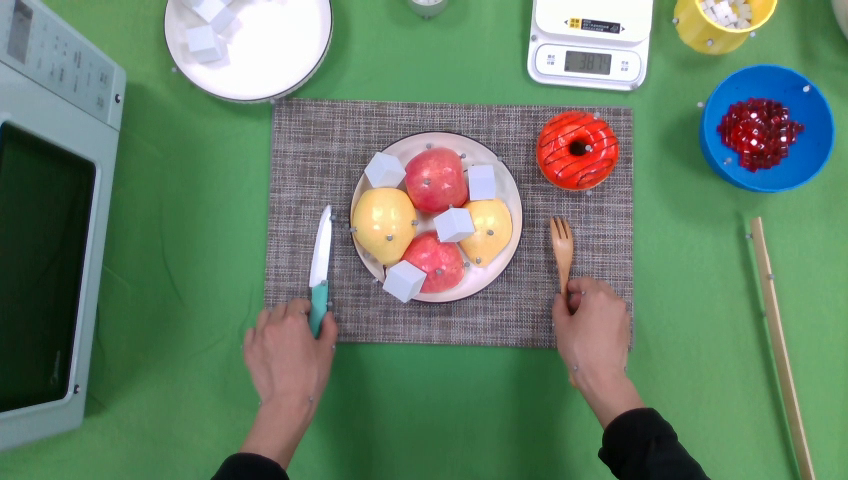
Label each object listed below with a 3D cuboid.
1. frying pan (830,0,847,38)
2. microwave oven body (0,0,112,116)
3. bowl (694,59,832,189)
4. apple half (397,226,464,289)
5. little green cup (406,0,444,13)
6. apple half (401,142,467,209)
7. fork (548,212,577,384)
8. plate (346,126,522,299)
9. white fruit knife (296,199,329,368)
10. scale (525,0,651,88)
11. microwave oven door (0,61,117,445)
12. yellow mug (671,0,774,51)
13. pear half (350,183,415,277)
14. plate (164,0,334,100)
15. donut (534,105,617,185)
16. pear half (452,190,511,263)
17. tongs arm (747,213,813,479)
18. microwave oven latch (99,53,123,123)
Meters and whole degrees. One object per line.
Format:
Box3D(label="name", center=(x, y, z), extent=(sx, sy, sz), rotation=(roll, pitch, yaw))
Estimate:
Box3D(label="frying pan", center=(0.679, -0.233, 0.719), extent=(0.307, 0.103, 0.485), rotation=(-25, 77, -1))
Box3D(label="microwave oven body", center=(-0.547, -0.030, 0.618), extent=(0.326, 0.260, 0.440), rotation=(4, 85, 0))
Box3D(label="bowl", center=(0.387, -0.128, 0.723), extent=(0.151, 0.077, 0.151), rotation=(0, 85, 0))
Box3D(label="apple half", center=(0.007, 0.020, 0.716), extent=(0.081, 0.033, 0.081), rotation=(0, 78, -1))
Box3D(label="little green cup", center=(0.002, -0.319, 0.762), extent=(0.061, 0.039, 0.061), rotation=(0, 84, 1))
Box3D(label="apple half", center=(0.011, -0.078, 0.717), extent=(0.074, 0.053, 0.080), rotation=(-11, 87, 2))
Box3D(label="fork", center=(0.167, 0.066, 0.723), extent=(0.028, 0.018, 0.206), rotation=(0, 81, -16))
Box3D(label="plate", center=(0.013, -0.032, 0.729), extent=(0.209, 0.038, 0.208), rotation=(0, 84, 0))
Box3D(label="white fruit knife", center=(-0.130, 0.051, 0.731), extent=(0.027, 0.016, 0.206), rotation=(3, 82, 15))
Box3D(label="scale", center=(0.209, -0.297, 0.763), extent=(0.148, 0.031, 0.200), rotation=(6, 85, 1))
Box3D(label="microwave oven door", center=(-0.404, 0.022, 0.608), extent=(0.039, 0.244, 0.355), rotation=(4, 84, 1))
Box3D(label="yellow mug", center=(0.357, -0.307, 0.746), extent=(0.100, 0.064, 0.130), rotation=(-31, 84, -2))
Box3D(label="pear half", center=(-0.046, -0.012, 0.706), extent=(0.076, 0.056, 0.109), rotation=(-5, 88, -8))
Box3D(label="plate", center=(-0.215, -0.272, 0.758), extent=(0.208, 0.039, 0.207), rotation=(0, 84, 0))
Box3D(label="donut", center=(0.182, -0.115, 0.734), extent=(0.099, 0.048, 0.099), rotation=(0, 85, 3))
Box3D(label="pear half", center=(0.066, -0.018, 0.722), extent=(0.070, 0.031, 0.087), rotation=(3, 82, 14))
Box3D(label="tongs arm", center=(0.441, 0.155, 0.716), extent=(0.051, 0.026, 0.384), rotation=(-7, 85, -3))
Box3D(label="microwave oven latch", center=(-0.385, -0.184, 0.730), extent=(0.030, 0.029, 0.079), rotation=(5, 85, 0))
